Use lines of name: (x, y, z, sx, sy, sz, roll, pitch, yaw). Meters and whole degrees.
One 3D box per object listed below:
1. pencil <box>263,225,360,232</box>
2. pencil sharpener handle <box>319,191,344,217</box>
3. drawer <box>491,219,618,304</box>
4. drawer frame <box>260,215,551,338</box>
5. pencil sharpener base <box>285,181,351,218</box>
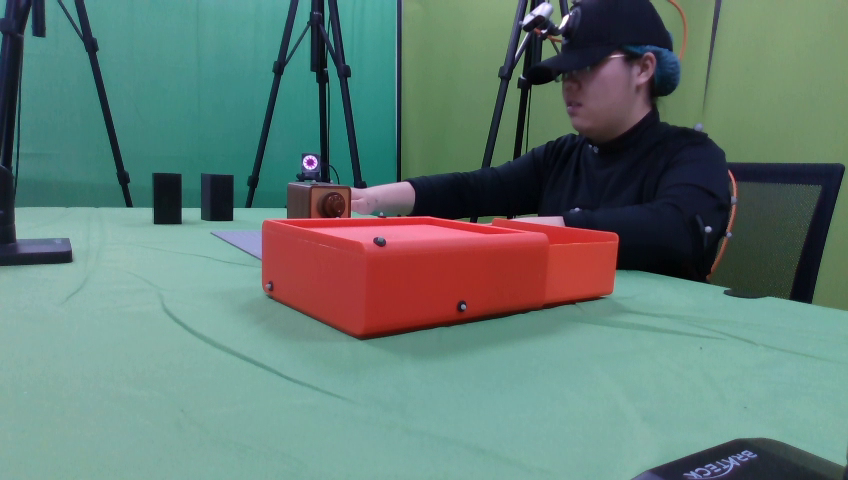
pencil: (-0.212, -0.021, 1.157, 0.195, 0.012, 0.012, -3, 9, -32)
pencil sharpener handle: (-0.107, -0.026, 0.748, 0.036, 0.067, 0.030, -6, 11, -36)
drawer: (0.071, 0.021, 0.670, 0.213, 0.073, 0.193, -3, 10, -39)
drawer frame: (-0.021, 0.023, 0.595, 0.215, 0.082, 0.200, -4, 10, -38)
pencil sharpener base: (-0.139, -0.021, 0.789, 0.062, 0.107, 0.076, -2, 9, -36)
